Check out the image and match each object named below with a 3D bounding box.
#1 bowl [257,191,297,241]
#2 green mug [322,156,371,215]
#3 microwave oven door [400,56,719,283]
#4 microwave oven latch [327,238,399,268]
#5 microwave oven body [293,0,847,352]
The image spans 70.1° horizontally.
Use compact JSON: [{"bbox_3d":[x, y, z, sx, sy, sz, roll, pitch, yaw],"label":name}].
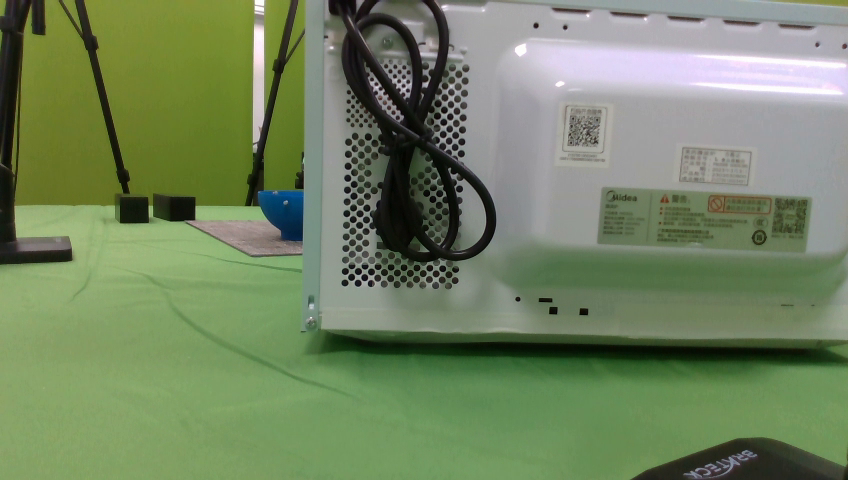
[{"bbox_3d":[-0.206,-0.040,1.027,0.151,0.077,0.151,3,8,0],"label":"bowl"},{"bbox_3d":[-0.145,-0.107,1.162,0.092,0.105,0.125,5,10,-2],"label":"green mug"},{"bbox_3d":[0.155,-0.077,0.698,0.356,0.243,0.039,2,8,-5],"label":"microwave oven door"},{"bbox_3d":[-0.069,0.015,0.694,0.079,0.029,0.030,3,7,-3],"label":"microwave oven latch"},{"bbox_3d":[0.122,-0.055,0.550,0.442,0.260,0.325,3,7,-5],"label":"microwave oven body"}]
